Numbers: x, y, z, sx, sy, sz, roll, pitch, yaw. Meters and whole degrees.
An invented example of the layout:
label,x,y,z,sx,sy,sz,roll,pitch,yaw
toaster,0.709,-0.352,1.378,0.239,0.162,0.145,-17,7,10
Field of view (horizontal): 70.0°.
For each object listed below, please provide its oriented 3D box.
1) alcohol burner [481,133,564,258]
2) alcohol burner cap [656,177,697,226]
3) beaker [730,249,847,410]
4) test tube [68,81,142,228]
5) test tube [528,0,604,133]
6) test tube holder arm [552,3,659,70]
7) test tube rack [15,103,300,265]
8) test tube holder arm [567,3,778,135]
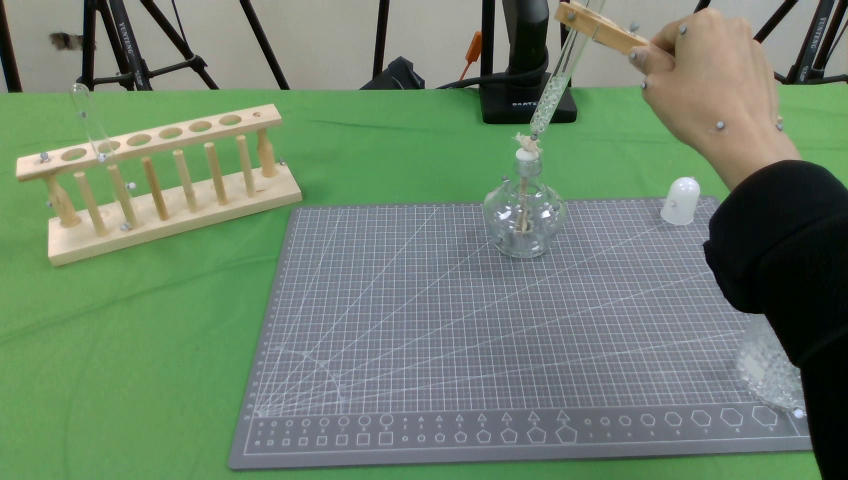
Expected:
label,x,y,z,sx,sy,sz,roll,pitch,yaw
alcohol burner,0.091,-0.043,0.556,0.078,0.120,0.077,-1,39,2
alcohol burner cap,0.255,-0.042,0.608,0.034,0.048,0.033,0,40,1
beaker,0.269,0.066,0.436,0.074,0.101,0.083,-21,43,-22
test tube,-0.289,-0.073,0.553,0.017,0.152,0.017,-1,39,1
test tube,0.114,-0.149,0.470,0.017,0.151,0.017,13,39,-10
test tube holder arm,0.133,-0.150,0.443,0.087,0.015,0.010,37,42,23
test tube rack,-0.256,-0.061,0.607,0.243,0.086,0.066,-17,43,-19
test tube holder arm,0.166,-0.125,0.427,0.013,0.015,0.176,-22,53,-38
